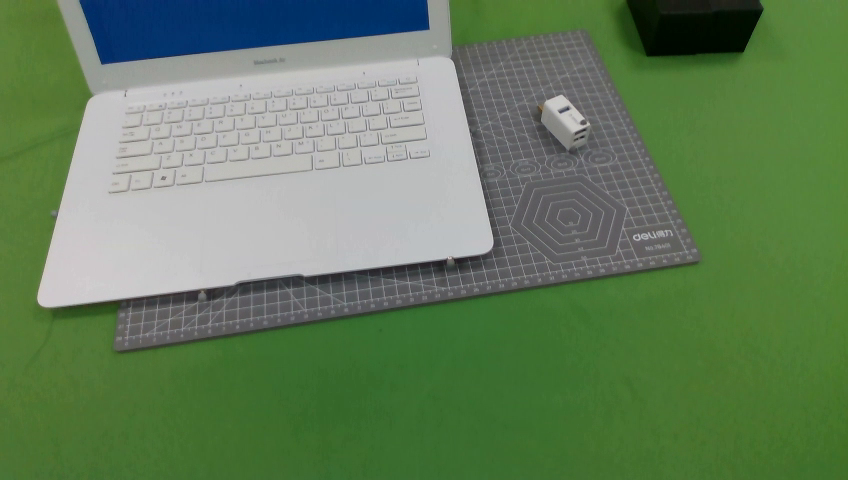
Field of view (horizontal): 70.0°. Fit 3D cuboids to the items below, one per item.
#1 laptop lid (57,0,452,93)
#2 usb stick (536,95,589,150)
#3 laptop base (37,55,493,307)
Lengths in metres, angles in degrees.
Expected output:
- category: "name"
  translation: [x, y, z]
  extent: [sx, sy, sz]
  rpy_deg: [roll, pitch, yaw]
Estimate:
- category: "laptop lid"
  translation: [-0.156, -0.259, 0.538]
  extent: [0.357, 0.243, 0.013]
  rpy_deg: [-8, 30, -2]
- category: "usb stick"
  translation: [0.123, -0.111, 0.549]
  extent: [0.021, 0.027, 0.058]
  rpy_deg: [-25, 55, -14]
- category: "laptop base"
  translation: [-0.133, -0.062, 0.531]
  extent: [0.354, 0.023, 0.233]
  rpy_deg: [-7, 58, -3]
